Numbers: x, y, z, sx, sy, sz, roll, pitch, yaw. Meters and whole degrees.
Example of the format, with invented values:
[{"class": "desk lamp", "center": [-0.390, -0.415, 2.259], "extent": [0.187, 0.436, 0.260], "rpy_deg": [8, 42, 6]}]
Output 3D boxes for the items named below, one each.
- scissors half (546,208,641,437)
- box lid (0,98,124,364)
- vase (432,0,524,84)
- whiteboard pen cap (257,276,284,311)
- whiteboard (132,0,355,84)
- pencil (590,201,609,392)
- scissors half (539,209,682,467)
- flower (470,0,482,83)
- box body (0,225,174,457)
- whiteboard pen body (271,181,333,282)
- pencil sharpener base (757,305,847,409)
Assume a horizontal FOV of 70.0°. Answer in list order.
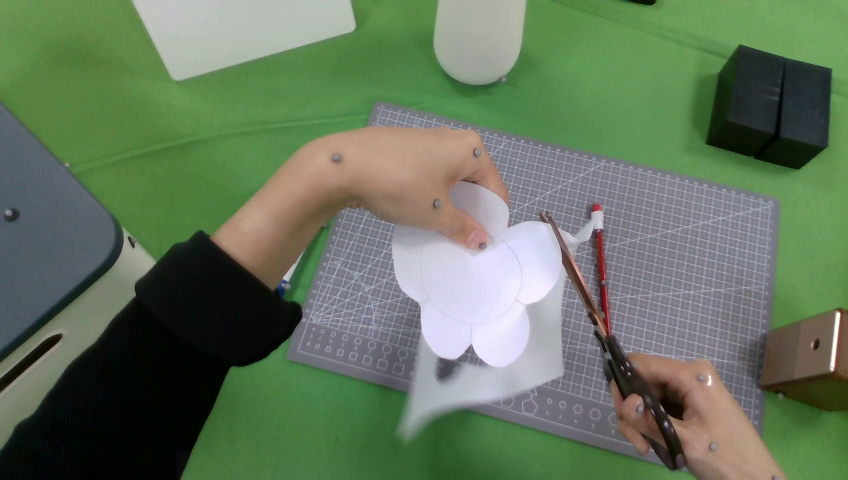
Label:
[{"class": "scissors half", "center": [0.111, 0.056, 0.393], "extent": [0.013, 0.039, 0.176], "rpy_deg": [-26, 110, 1]}, {"class": "box lid", "center": [-0.438, -0.029, 0.460], "extent": [0.370, 0.015, 0.263], "rpy_deg": [41, 74, 12]}, {"class": "vase", "center": [0.058, -0.248, 0.611], "extent": [0.098, 0.201, 0.097], "rpy_deg": [0, 68, 0]}, {"class": "whiteboard pen cap", "center": [-0.148, 0.051, 0.591], "extent": [0.018, 0.018, 0.033], "rpy_deg": [20, 66, 7]}, {"class": "whiteboard", "center": [-0.218, -0.355, 0.619], "extent": [0.217, 0.308, 0.142], "rpy_deg": [-18, 52, -7]}, {"class": "pencil", "center": [0.176, 0.052, 0.605], "extent": [0.012, 0.012, 0.193], "rpy_deg": [1, 72, 0]}, {"class": "scissors half", "center": [0.112, 0.058, 0.371], "extent": [0.013, 0.040, 0.174], "rpy_deg": [-26, 84, -4]}, {"class": "flower", "center": [0.055, -0.291, 0.538], "extent": [0.044, 0.365, 0.038], "rpy_deg": [8, 52, 5]}, {"class": "box body", "center": [-0.438, -0.002, 0.529], "extent": [0.362, 0.161, 0.254], "rpy_deg": [41, 74, 12]}, {"class": "whiteboard pen body", "center": [-0.127, 0.000, 0.612], "extent": [0.017, 0.017, 0.140], "rpy_deg": [21, 69, 7]}, {"class": "pencil sharpener base", "center": [0.363, 0.108, 0.538], "extent": [0.076, 0.107, 0.061], "rpy_deg": [19, 70, 2]}]
